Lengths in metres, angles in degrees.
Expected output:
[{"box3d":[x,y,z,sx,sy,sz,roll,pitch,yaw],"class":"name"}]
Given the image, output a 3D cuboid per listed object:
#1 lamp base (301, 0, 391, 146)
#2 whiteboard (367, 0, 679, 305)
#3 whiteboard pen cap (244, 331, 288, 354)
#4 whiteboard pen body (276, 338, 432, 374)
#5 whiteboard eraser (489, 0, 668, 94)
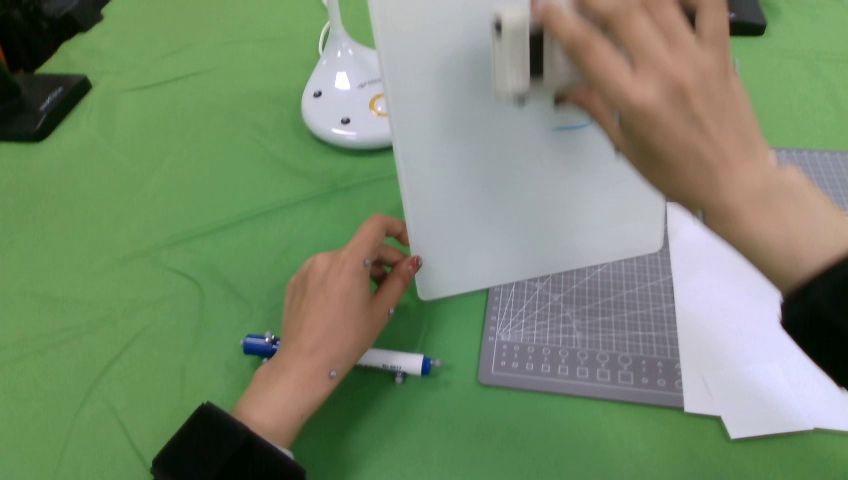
[{"box3d":[-0.074,-0.218,0.640,0.160,0.182,0.177,-32,51,-23],"class":"lamp base"},{"box3d":[0.071,-0.130,0.502,0.217,0.308,0.142,-11,29,-4],"class":"whiteboard"},{"box3d":[-0.122,0.080,0.474,0.033,0.018,0.018,5,48,6],"class":"whiteboard pen cap"},{"box3d":[-0.064,0.087,0.464,0.140,0.017,0.017,5,48,6],"class":"whiteboard pen body"},{"box3d":[0.096,-0.127,0.383,0.113,0.056,0.041,-12,28,-13],"class":"whiteboard eraser"}]
